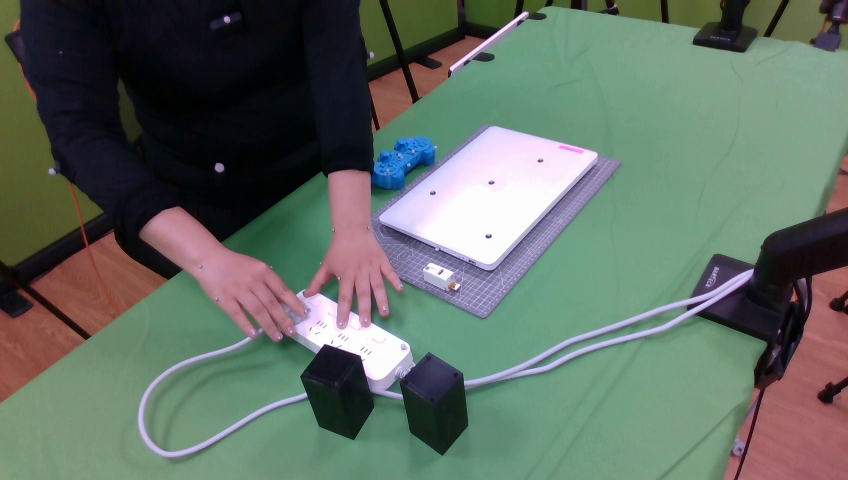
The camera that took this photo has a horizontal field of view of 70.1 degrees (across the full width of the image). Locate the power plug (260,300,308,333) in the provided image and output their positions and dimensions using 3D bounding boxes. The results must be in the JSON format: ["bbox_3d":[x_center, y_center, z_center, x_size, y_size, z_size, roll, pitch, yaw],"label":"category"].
[{"bbox_3d":[-0.193,0.110,0.830,0.073,0.053,0.035,-35,47,-23],"label":"power plug"}]

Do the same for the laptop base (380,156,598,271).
[{"bbox_3d":[0.120,-0.085,1.055,0.233,0.023,0.355,21,48,34],"label":"laptop base"}]

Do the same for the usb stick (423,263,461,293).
[{"bbox_3d":[0.028,0.058,0.889,0.059,0.027,0.021,24,46,29],"label":"usb stick"}]

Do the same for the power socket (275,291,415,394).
[{"bbox_3d":[-0.114,0.134,0.820,0.225,0.033,0.072,24,47,32],"label":"power socket"}]

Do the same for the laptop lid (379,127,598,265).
[{"bbox_3d":[0.117,-0.095,1.048,0.239,0.013,0.358,23,49,34],"label":"laptop lid"}]

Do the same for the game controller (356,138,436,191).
[{"bbox_3d":[-0.049,-0.150,1.136,0.096,0.052,0.155,28,51,28],"label":"game controller"}]
